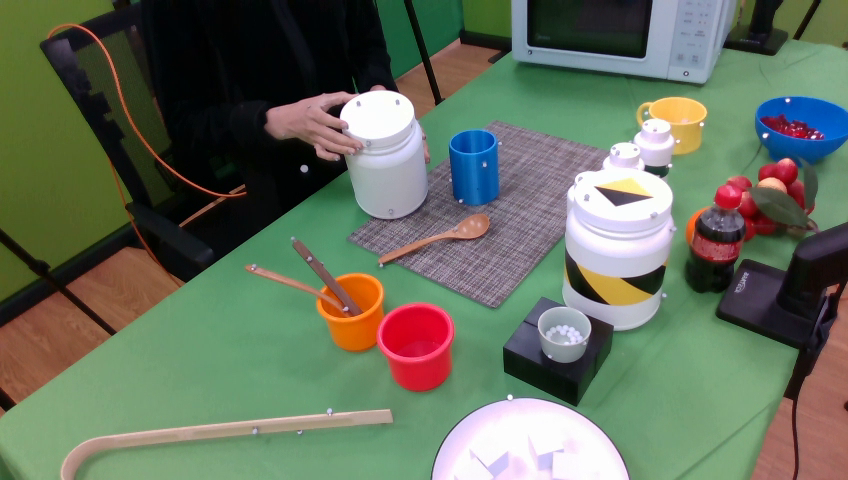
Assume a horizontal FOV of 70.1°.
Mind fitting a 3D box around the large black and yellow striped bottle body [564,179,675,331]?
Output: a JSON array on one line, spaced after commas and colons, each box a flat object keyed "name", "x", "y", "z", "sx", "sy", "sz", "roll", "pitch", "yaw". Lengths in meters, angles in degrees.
[{"name": "large black and yellow striped bottle body", "x": 0.254, "y": 0.014, "z": 0.793, "sx": 0.131, "sy": 0.185, "sz": 0.130, "roll": -5, "pitch": 40, "yaw": 4}]

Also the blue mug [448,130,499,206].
[{"name": "blue mug", "x": 0.091, "y": -0.134, "z": 1.052, "sx": 0.082, "sy": 0.106, "sz": 0.116, "roll": 4, "pitch": 41, "yaw": 14}]

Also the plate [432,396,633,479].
[{"name": "plate", "x": 0.112, "y": 0.261, "z": 0.634, "sx": 0.209, "sy": 0.038, "sz": 0.208, "roll": -5, "pitch": 40, "yaw": 4}]

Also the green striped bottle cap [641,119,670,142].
[{"name": "green striped bottle cap", "x": 0.371, "y": -0.175, "z": 0.968, "sx": 0.044, "sy": 0.020, "sz": 0.044, "roll": -4, "pitch": 42, "yaw": 4}]

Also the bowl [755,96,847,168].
[{"name": "bowl", "x": 0.645, "y": -0.177, "z": 1.041, "sx": 0.151, "sy": 0.077, "sz": 0.150, "roll": -5, "pitch": 40, "yaw": 4}]

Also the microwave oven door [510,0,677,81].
[{"name": "microwave oven door", "x": 0.354, "y": -0.478, "z": 1.290, "sx": 0.353, "sy": 0.245, "sz": 0.039, "roll": 15, "pitch": 45, "yaw": 25}]

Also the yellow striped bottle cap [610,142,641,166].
[{"name": "yellow striped bottle cap", "x": 0.309, "y": -0.131, "z": 0.925, "sx": 0.044, "sy": 0.019, "sz": 0.044, "roll": -4, "pitch": 46, "yaw": 5}]

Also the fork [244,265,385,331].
[{"name": "fork", "x": -0.142, "y": 0.078, "z": 0.806, "sx": 0.209, "sy": 0.018, "sz": 0.028, "roll": 30, "pitch": 33, "yaw": -24}]

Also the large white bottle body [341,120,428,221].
[{"name": "large white bottle body", "x": -0.064, "y": -0.134, "z": 0.996, "sx": 0.130, "sy": 0.185, "sz": 0.130, "roll": -2, "pitch": 56, "yaw": 3}]

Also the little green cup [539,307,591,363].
[{"name": "little green cup", "x": 0.167, "y": 0.114, "z": 0.721, "sx": 0.061, "sy": 0.039, "sz": 0.061, "roll": -4, "pitch": 43, "yaw": 4}]

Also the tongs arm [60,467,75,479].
[{"name": "tongs arm", "x": -0.239, "y": 0.302, "z": 0.649, "sx": 0.386, "sy": 0.028, "sz": 0.028, "roll": 6, "pitch": 49, "yaw": 16}]

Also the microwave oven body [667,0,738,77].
[{"name": "microwave oven body", "x": 0.462, "y": -0.552, "z": 1.369, "sx": 0.439, "sy": 0.261, "sz": 0.326, "roll": 15, "pitch": 45, "yaw": 26}]

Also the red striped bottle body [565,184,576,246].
[{"name": "red striped bottle body", "x": 0.247, "y": -0.041, "z": 0.910, "sx": 0.063, "sy": 0.120, "sz": 0.062, "roll": -3, "pitch": 39, "yaw": 3}]

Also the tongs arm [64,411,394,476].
[{"name": "tongs arm", "x": -0.228, "y": 0.241, "z": 0.715, "sx": 0.385, "sy": 0.026, "sz": 0.050, "roll": -5, "pitch": 44, "yaw": 4}]

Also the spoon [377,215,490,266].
[{"name": "spoon", "x": 0.015, "y": 0.002, "z": 0.966, "sx": 0.194, "sy": 0.022, "sz": 0.041, "roll": -18, "pitch": 62, "yaw": -12}]

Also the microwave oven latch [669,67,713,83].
[{"name": "microwave oven latch", "x": 0.556, "y": -0.349, "z": 1.261, "sx": 0.078, "sy": 0.029, "sz": 0.030, "roll": 16, "pitch": 46, "yaw": 27}]

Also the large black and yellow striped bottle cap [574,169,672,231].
[{"name": "large black and yellow striped bottle cap", "x": 0.242, "y": -0.051, "z": 0.738, "sx": 0.115, "sy": 0.019, "sz": 0.114, "roll": -4, "pitch": 37, "yaw": 3}]

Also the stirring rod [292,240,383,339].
[{"name": "stirring rod", "x": -0.118, "y": 0.068, "z": 0.826, "sx": 0.176, "sy": 0.006, "sz": 0.014, "roll": 48, "pitch": 59, "yaw": -4}]

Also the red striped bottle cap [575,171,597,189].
[{"name": "red striped bottle cap", "x": 0.242, "y": -0.081, "z": 0.876, "sx": 0.044, "sy": 0.018, "sz": 0.044, "roll": -5, "pitch": 44, "yaw": 5}]

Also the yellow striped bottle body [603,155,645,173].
[{"name": "yellow striped bottle body", "x": 0.314, "y": -0.090, "z": 0.957, "sx": 0.063, "sy": 0.121, "sz": 0.062, "roll": -4, "pitch": 40, "yaw": 4}]

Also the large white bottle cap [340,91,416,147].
[{"name": "large white bottle cap", "x": -0.070, "y": -0.186, "z": 0.924, "sx": 0.115, "sy": 0.018, "sz": 0.114, "roll": -2, "pitch": 51, "yaw": 3}]

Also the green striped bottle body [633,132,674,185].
[{"name": "green striped bottle body", "x": 0.376, "y": -0.135, "z": 1.001, "sx": 0.063, "sy": 0.120, "sz": 0.063, "roll": -5, "pitch": 40, "yaw": 5}]

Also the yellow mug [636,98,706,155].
[{"name": "yellow mug", "x": 0.453, "y": -0.217, "z": 1.128, "sx": 0.100, "sy": 0.064, "sz": 0.129, "roll": -34, "pitch": 46, "yaw": -27}]
